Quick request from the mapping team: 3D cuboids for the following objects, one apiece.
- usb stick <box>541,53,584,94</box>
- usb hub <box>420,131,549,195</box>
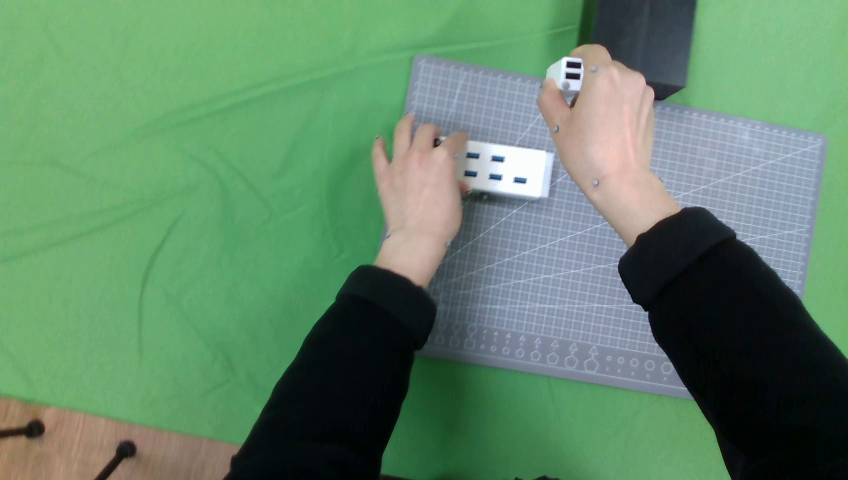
[{"bbox_3d":[0.113,-0.138,0.509,0.021,0.059,0.027,4,93,-6],"label":"usb stick"},{"bbox_3d":[0.060,-0.077,0.608,0.125,0.025,0.049,7,87,-4],"label":"usb hub"}]
